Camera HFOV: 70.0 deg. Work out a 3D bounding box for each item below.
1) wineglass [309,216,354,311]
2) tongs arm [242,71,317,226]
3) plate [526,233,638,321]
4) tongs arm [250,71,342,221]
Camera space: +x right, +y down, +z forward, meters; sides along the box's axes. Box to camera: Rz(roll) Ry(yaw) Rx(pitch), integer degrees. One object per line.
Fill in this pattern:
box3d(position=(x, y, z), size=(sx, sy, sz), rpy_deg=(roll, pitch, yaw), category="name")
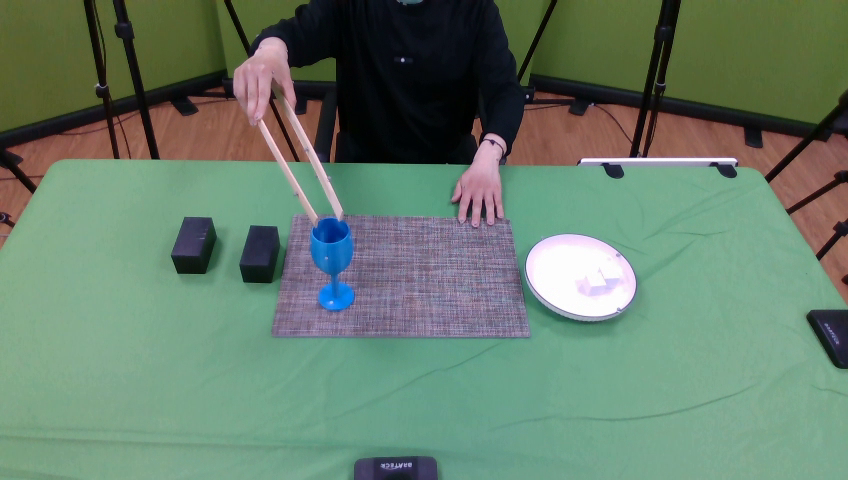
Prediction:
box3d(position=(-0.155, 0.043, 1.032), size=(0.074, 0.173, 0.073), rpy_deg=(2, 46, -2), category="wineglass")
box3d(position=(-0.253, -0.168, 1.040), size=(0.028, 0.028, 0.385), rpy_deg=(-17, 55, -23), category="tongs arm")
box3d(position=(0.292, 0.071, 1.135), size=(0.209, 0.038, 0.208), rpy_deg=(2, 46, -2), category="plate")
box3d(position=(-0.229, -0.174, 1.053), size=(0.051, 0.026, 0.382), rpy_deg=(-12, 53, -24), category="tongs arm")
